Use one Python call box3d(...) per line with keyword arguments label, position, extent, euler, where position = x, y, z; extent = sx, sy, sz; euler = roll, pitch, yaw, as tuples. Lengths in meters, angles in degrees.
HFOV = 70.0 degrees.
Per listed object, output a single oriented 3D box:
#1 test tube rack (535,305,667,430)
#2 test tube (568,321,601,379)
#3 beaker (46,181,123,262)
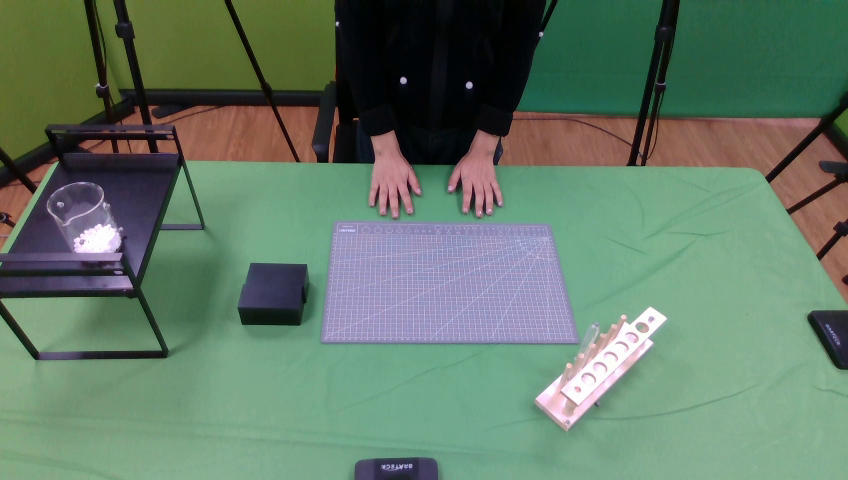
box3d(label="test tube rack", position=(0.290, 0.193, 0.984), extent=(0.242, 0.085, 0.066), euler=(-32, 56, -30))
box3d(label="test tube", position=(0.247, 0.173, 0.938), extent=(0.017, 0.151, 0.017), euler=(2, 47, -2))
box3d(label="beaker", position=(-0.487, -0.021, 0.877), extent=(0.074, 0.101, 0.083), euler=(3, 47, 0))
